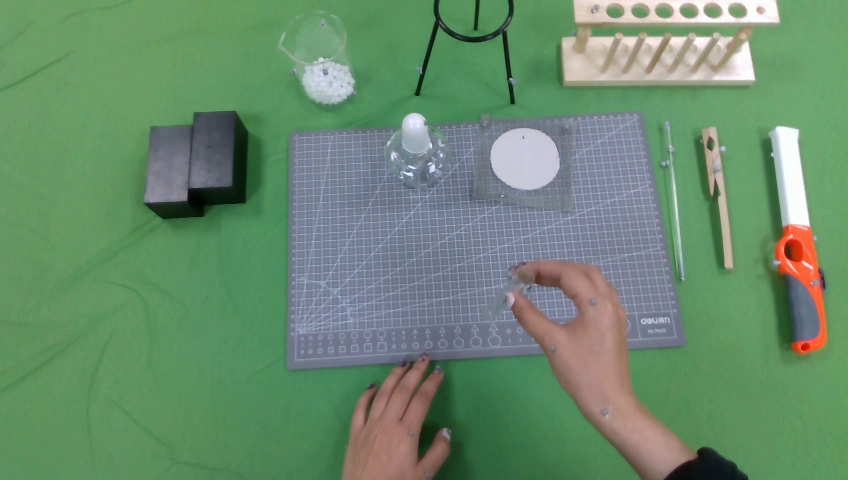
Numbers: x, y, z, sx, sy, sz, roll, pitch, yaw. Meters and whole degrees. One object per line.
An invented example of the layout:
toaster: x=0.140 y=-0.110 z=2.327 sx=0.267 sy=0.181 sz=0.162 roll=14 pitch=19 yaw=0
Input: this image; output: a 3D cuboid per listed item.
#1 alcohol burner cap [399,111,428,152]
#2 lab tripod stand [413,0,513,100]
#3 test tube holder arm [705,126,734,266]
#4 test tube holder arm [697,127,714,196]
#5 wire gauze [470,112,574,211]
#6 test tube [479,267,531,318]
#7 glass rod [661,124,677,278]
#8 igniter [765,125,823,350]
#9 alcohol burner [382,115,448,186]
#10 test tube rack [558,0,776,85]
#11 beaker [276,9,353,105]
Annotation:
alcohol burner cap: x=-0.013 y=-0.123 z=0.667 sx=0.034 sy=0.048 sz=0.033 roll=0 pitch=66 yaw=1
lab tripod stand: x=0.052 y=-0.239 z=0.734 sx=0.148 sy=0.132 sz=0.147 roll=0 pitch=74 yaw=1
test tube holder arm: x=0.355 y=-0.055 z=0.730 sx=0.013 sy=0.015 sz=0.177 roll=-14 pitch=68 yaw=34
test tube holder arm: x=0.349 y=-0.097 z=0.747 sx=0.010 sy=0.015 sz=0.087 roll=-13 pitch=69 yaw=34
wire gauze: x=0.123 y=-0.102 z=0.753 sx=0.125 sy=0.011 sz=0.121 roll=7 pitch=74 yaw=2
test tube: x=0.072 y=0.052 z=0.562 sx=0.017 sy=0.151 sz=0.017 roll=2 pitch=72 yaw=-6
glass rod: x=0.298 y=-0.050 z=0.736 sx=0.008 sy=0.008 sz=0.198 roll=2 pitch=75 yaw=1
igniter: x=0.432 y=-0.008 z=0.711 sx=0.057 sy=0.025 sz=0.275 roll=6 pitch=72 yaw=-8
alcohol burner: x=-0.011 y=-0.110 z=0.701 sx=0.078 sy=0.120 sz=0.077 roll=-1 pitch=72 yaw=3
test tube rack: x=0.298 y=-0.247 z=0.759 sx=0.242 sy=0.085 sz=0.066 roll=0 pitch=72 yaw=1
beaker: x=-0.130 y=-0.220 z=0.748 sx=0.084 sy=0.101 sz=0.073 roll=-11 pitch=72 yaw=-2
